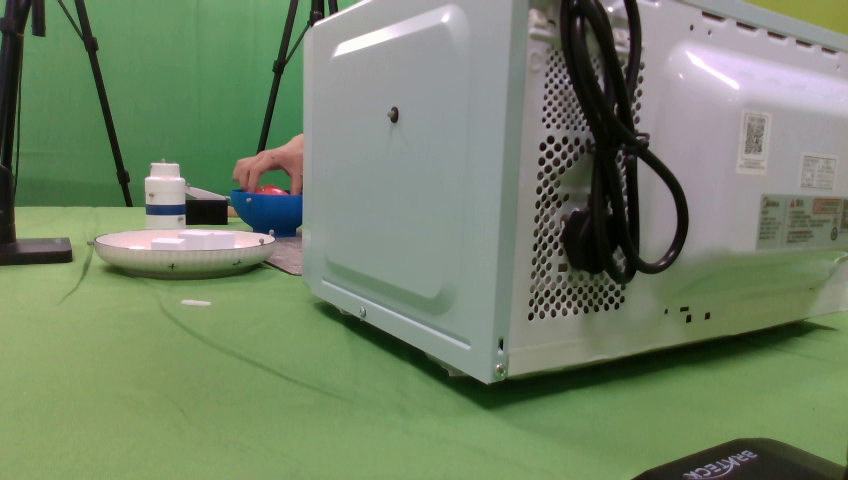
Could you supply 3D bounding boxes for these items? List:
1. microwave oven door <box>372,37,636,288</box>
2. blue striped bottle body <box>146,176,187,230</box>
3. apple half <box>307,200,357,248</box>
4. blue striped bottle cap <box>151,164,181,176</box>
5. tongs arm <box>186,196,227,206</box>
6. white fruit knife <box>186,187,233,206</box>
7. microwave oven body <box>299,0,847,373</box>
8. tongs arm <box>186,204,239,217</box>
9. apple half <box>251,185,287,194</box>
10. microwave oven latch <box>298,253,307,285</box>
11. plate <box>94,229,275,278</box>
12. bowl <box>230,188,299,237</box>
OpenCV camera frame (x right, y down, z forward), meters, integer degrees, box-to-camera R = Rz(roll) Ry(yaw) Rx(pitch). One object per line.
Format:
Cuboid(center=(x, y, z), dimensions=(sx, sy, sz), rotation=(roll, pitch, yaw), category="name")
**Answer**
Cuboid(center=(0.110, -0.080, 0.686), dimensions=(0.358, 0.243, 0.039), rotation=(-2, 9, -33), category="microwave oven door")
Cuboid(center=(-0.430, -0.065, 1.010), dimensions=(0.063, 0.120, 0.063), rotation=(2, 7, 0), category="blue striped bottle body")
Cuboid(center=(-0.135, -0.024, 0.941), dimensions=(0.053, 0.074, 0.081), rotation=(13, 9, 39), category="apple half")
Cuboid(center=(-0.428, -0.116, 1.002), dimensions=(0.044, 0.020, 0.044), rotation=(1, 6, 0), category="blue striped bottle cap")
Cuboid(center=(-0.404, -0.081, 1.479), dimensions=(0.385, 0.026, 0.050), rotation=(3, 8, -2), category="tongs arm")
Cuboid(center=(-0.413, -0.081, 1.270), dimensions=(0.208, 0.027, 0.016), rotation=(18, 14, -41), category="white fruit knife")
Cuboid(center=(0.151, -0.055, 0.542), dimensions=(0.444, 0.260, 0.324), rotation=(-2, 7, -33), category="microwave oven body")
Cuboid(center=(-0.396, -0.066, 1.399), dimensions=(0.389, 0.028, 0.028), rotation=(1, 5, -15), category="tongs arm")
Cuboid(center=(-0.270, -0.080, 1.070), dimensions=(0.081, 0.033, 0.081), rotation=(6, 11, -1), category="apple half")
Cuboid(center=(-0.081, 0.027, 0.582), dimensions=(0.079, 0.029, 0.030), rotation=(-2, 7, -32), category="microwave oven latch")
Cuboid(center=(-0.291, 0.016, 0.750), dimensions=(0.208, 0.039, 0.207), rotation=(2, 7, 0), category="plate")
Cuboid(center=(-0.264, -0.048, 1.065), dimensions=(0.151, 0.077, 0.151), rotation=(2, 8, 0), category="bowl")
